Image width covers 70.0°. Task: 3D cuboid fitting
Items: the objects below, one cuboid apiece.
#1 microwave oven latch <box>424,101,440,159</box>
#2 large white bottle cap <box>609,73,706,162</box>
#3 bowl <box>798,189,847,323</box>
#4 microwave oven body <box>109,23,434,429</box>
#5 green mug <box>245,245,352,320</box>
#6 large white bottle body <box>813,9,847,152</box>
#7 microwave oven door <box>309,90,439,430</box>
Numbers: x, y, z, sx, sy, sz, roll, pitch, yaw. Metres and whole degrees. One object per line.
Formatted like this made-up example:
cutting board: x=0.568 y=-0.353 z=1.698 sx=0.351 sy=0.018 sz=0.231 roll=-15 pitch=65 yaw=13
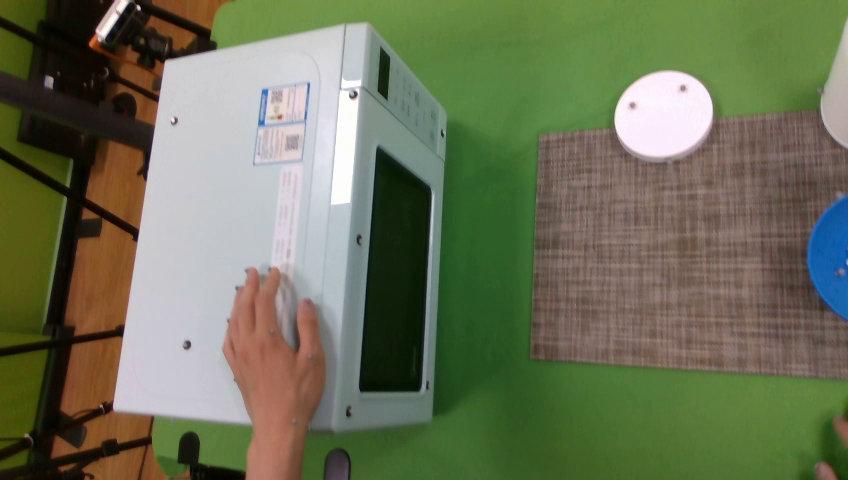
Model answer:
microwave oven latch: x=0.007 y=-0.154 z=0.855 sx=0.030 sy=0.030 sz=0.079 roll=-2 pitch=78 yaw=23
large white bottle cap: x=0.291 y=-0.154 z=0.757 sx=0.114 sy=0.018 sz=0.114 roll=-6 pitch=75 yaw=22
bowl: x=0.458 y=0.023 z=0.609 sx=0.151 sy=0.077 sz=0.150 roll=-6 pitch=76 yaw=23
microwave oven body: x=-0.177 y=0.002 z=0.791 sx=0.325 sy=0.262 sz=0.439 roll=-2 pitch=78 yaw=23
green mug: x=-0.156 y=0.051 z=0.795 sx=0.125 sy=0.106 sz=0.092 roll=-15 pitch=73 yaw=16
large white bottle body: x=0.468 y=-0.174 z=0.590 sx=0.130 sy=0.186 sz=0.130 roll=-7 pitch=71 yaw=22
microwave oven door: x=-0.048 y=0.037 z=0.721 sx=0.039 sy=0.246 sz=0.354 roll=-2 pitch=77 yaw=24
